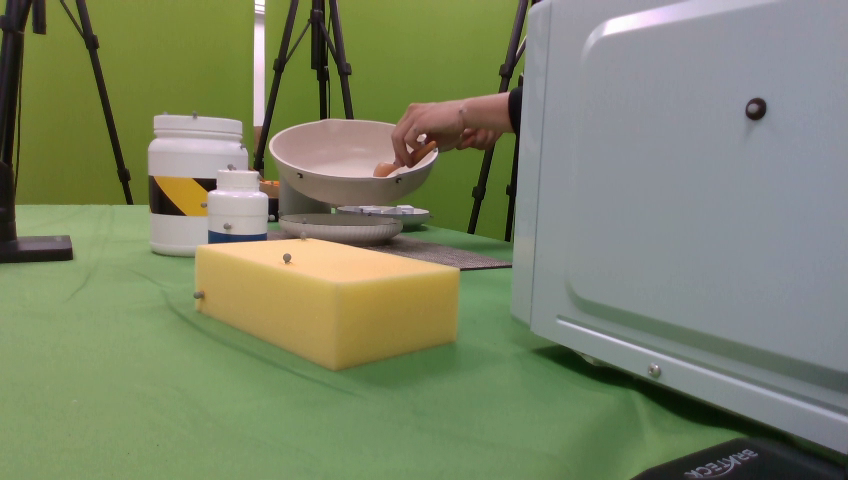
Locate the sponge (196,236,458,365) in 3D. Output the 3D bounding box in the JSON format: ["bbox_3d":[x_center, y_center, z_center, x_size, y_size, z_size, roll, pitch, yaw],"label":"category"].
[{"bbox_3d":[-0.087,0.039,0.500,0.206,0.061,0.119,8,9,44],"label":"sponge"}]

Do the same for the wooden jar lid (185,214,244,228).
[{"bbox_3d":[-0.404,-0.037,1.169,0.108,0.020,0.108,3,7,0],"label":"wooden jar lid"}]

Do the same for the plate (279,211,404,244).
[{"bbox_3d":[-0.139,-0.022,1.021,0.209,0.038,0.209,2,8,0],"label":"plate"}]

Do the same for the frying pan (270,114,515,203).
[{"bbox_3d":[-0.026,-0.173,1.103,0.489,0.103,0.305,-17,34,-18],"label":"frying pan"}]

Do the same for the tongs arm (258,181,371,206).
[{"bbox_3d":[-0.241,-0.095,1.373,0.387,0.026,0.050,9,0,-37],"label":"tongs arm"}]

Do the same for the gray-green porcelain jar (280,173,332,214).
[{"bbox_3d":[-0.238,-0.092,1.221,0.106,0.126,0.106,2,8,0],"label":"gray-green porcelain jar"}]

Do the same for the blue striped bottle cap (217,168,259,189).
[{"bbox_3d":[-0.202,-0.067,0.656,0.044,0.020,0.044,0,11,0],"label":"blue striped bottle cap"}]

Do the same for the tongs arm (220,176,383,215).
[{"bbox_3d":[-0.285,-0.104,1.445,0.389,0.027,0.028,9,-4,-23],"label":"tongs arm"}]

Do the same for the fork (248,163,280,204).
[{"bbox_3d":[-0.396,-0.143,1.486,0.028,0.018,0.208,20,-26,45],"label":"fork"}]

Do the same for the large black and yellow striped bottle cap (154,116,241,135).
[{"bbox_3d":[-0.314,-0.158,0.843,0.115,0.019,0.115,3,7,0],"label":"large black and yellow striped bottle cap"}]

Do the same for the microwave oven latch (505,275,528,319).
[{"bbox_3d":[0.100,0.042,0.472,0.079,0.029,0.030,-2,8,-30],"label":"microwave oven latch"}]

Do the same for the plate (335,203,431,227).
[{"bbox_3d":[-0.089,-0.053,1.309,0.208,0.039,0.207,2,8,0],"label":"plate"}]

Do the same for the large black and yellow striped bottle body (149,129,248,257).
[{"bbox_3d":[-0.315,-0.075,0.854,0.131,0.184,0.130,2,8,0],"label":"large black and yellow striped bottle body"}]

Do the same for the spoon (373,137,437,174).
[{"bbox_3d":[-0.033,-0.128,0.949,0.022,0.041,0.193,16,-19,-33],"label":"spoon"}]

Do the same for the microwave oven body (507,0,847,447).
[{"bbox_3d":[0.331,-0.042,0.425,0.444,0.260,0.324,-2,8,-31],"label":"microwave oven body"}]

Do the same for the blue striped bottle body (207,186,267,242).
[{"bbox_3d":[-0.204,-0.016,0.663,0.063,0.120,0.063,2,7,0],"label":"blue striped bottle body"}]

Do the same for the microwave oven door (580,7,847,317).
[{"bbox_3d":[0.295,-0.067,0.570,0.358,0.243,0.039,-3,9,-31],"label":"microwave oven door"}]
